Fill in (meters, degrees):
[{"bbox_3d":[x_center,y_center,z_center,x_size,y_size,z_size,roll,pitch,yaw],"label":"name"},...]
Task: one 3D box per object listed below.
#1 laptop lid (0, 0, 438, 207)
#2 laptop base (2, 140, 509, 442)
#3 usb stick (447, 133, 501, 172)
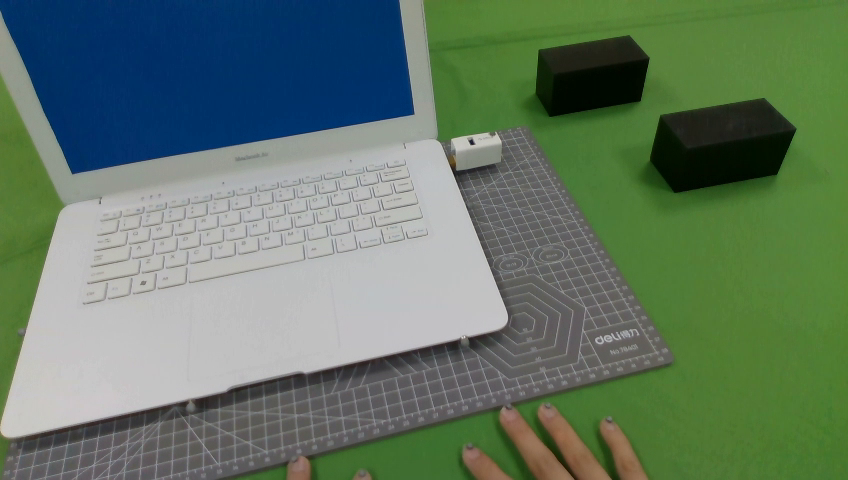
[{"bbox_3d":[-0.171,-0.159,0.517,0.357,0.244,0.013,-13,31,-6],"label":"laptop lid"},{"bbox_3d":[-0.132,0.022,0.497,0.355,0.023,0.233,-12,49,-7],"label":"laptop base"},{"bbox_3d":[0.041,-0.081,0.566,0.059,0.027,0.021,-13,47,-5],"label":"usb stick"}]
